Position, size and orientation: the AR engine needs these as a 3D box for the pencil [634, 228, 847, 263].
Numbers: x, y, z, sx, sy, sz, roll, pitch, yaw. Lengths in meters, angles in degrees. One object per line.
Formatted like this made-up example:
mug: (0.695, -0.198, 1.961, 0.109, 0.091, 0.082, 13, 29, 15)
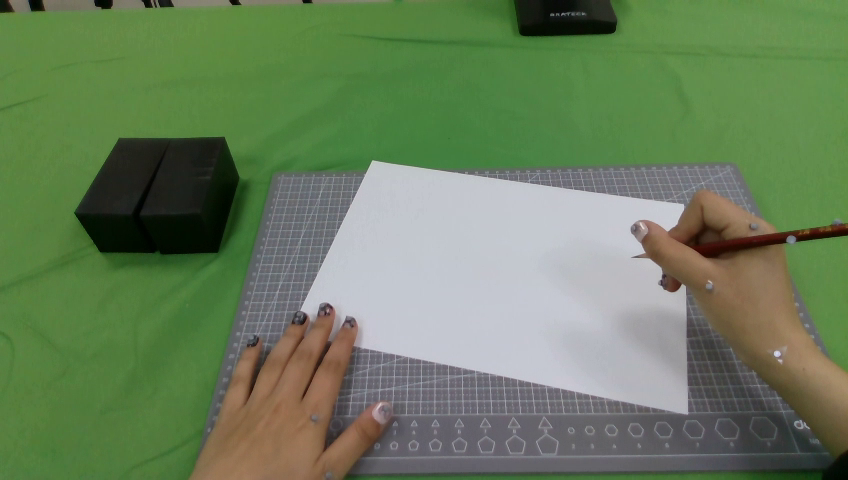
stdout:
pencil: (0.212, 0.002, 0.365, 0.193, 0.012, 0.012, -13, 29, 51)
